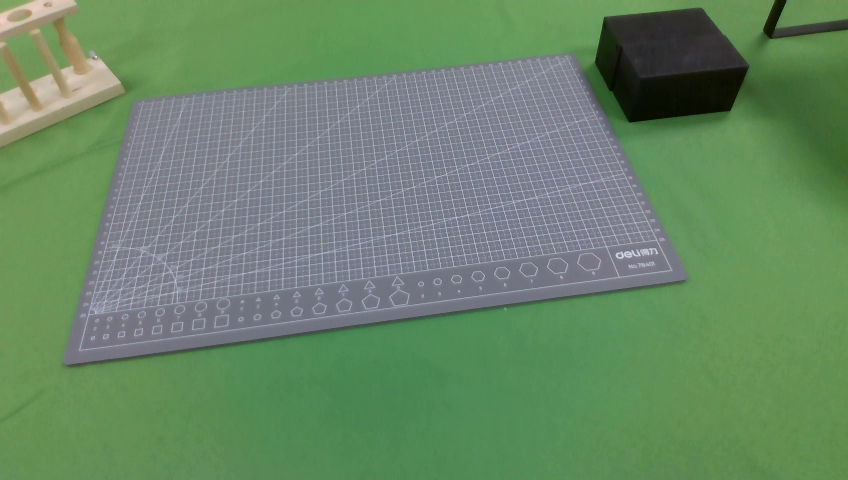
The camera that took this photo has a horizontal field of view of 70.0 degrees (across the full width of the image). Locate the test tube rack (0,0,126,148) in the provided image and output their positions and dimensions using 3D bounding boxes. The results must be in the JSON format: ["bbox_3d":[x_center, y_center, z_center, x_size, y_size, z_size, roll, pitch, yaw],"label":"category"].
[{"bbox_3d":[-0.419,-0.134,0.555,0.242,0.086,0.066,-34,57,-23],"label":"test tube rack"}]
